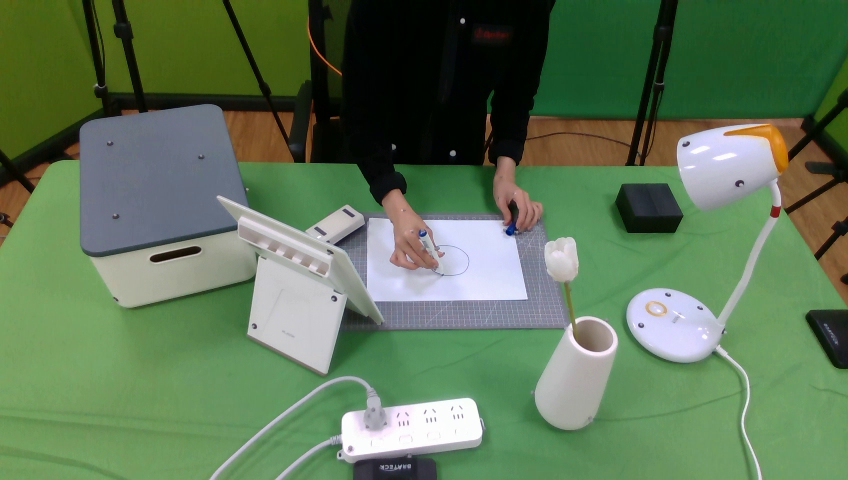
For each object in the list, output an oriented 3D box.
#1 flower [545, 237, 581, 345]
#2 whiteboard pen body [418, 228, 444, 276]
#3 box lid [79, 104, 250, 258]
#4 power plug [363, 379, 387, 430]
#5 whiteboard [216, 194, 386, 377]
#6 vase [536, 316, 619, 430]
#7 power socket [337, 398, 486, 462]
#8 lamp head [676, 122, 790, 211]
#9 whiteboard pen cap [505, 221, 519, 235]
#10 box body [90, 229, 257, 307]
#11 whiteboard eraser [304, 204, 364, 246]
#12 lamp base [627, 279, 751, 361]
[{"bbox_3d":[0.213,0.137,0.846,0.038,0.364,0.044,21,55,40],"label":"flower"},{"bbox_3d":[0.015,0.026,1.091,0.017,0.141,0.017,-10,51,13],"label":"whiteboard pen body"},{"bbox_3d":[-0.467,-0.121,1.075,0.264,0.015,0.369,-13,49,-17],"label":"box lid"},{"bbox_3d":[-0.072,0.252,0.911,0.035,0.053,0.072,3,40,0],"label":"power plug"},{"bbox_3d":[-0.212,0.093,0.938,0.216,0.307,0.143,24,70,17],"label":"whiteboard"},{"bbox_3d":[0.229,0.200,0.901,0.098,0.201,0.097,3,46,-3],"label":"vase"},{"bbox_3d":[-0.018,0.285,0.914,0.227,0.033,0.071,-4,46,-8],"label":"power socket"},{"bbox_3d":[0.423,-0.104,0.819,0.122,0.113,0.112,-13,33,40],"label":"lamp head"},{"bbox_3d":[0.178,-0.024,1.234,0.018,0.018,0.033,28,51,20],"label":"whiteboard pen cap"},{"bbox_3d":[-0.471,-0.070,1.131,0.254,0.161,0.361,-14,49,-17],"label":"box body"},{"bbox_3d":[-0.175,-0.022,1.188,0.055,0.042,0.112,36,53,26],"label":"whiteboard eraser"},{"bbox_3d":[0.460,0.100,1.027,0.178,0.181,0.160,27,51,17],"label":"lamp base"}]
